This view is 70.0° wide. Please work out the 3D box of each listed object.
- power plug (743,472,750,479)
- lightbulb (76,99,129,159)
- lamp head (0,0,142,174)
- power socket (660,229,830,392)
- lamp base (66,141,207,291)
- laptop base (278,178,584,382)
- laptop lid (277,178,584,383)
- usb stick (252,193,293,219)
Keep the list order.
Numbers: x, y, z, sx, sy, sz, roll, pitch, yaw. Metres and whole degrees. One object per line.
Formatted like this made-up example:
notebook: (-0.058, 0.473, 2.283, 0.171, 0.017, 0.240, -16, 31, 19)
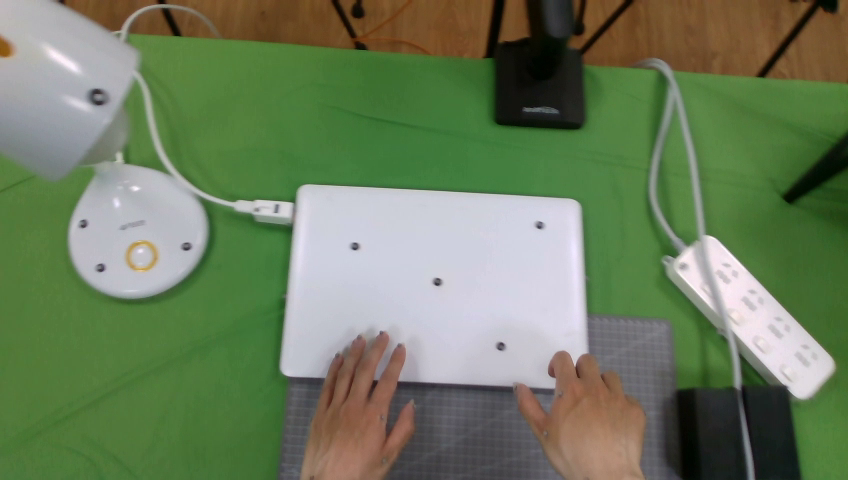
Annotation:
power plug: (0.331, 0.290, 0.658, 0.035, 0.052, 0.072, 40, 68, -11)
lightbulb: (-0.249, -0.098, 0.398, 0.059, 0.109, 0.059, -22, 46, 25)
lamp head: (-0.265, -0.119, 0.383, 0.124, 0.111, 0.112, 35, 69, -36)
power socket: (0.385, 0.083, 0.729, 0.072, 0.033, 0.225, -37, 78, -13)
lamp base: (-0.345, -0.051, 0.654, 0.161, 0.181, 0.178, -27, 73, -10)
laptop base: (0.013, 0.045, 0.730, 0.354, 0.023, 0.234, 3, 75, -2)
laptop lid: (0.014, 0.044, 0.718, 0.357, 0.013, 0.240, 4, 74, -2)
usb stick: (-0.176, -0.041, 0.734, 0.059, 0.027, 0.021, 7, 67, -4)
